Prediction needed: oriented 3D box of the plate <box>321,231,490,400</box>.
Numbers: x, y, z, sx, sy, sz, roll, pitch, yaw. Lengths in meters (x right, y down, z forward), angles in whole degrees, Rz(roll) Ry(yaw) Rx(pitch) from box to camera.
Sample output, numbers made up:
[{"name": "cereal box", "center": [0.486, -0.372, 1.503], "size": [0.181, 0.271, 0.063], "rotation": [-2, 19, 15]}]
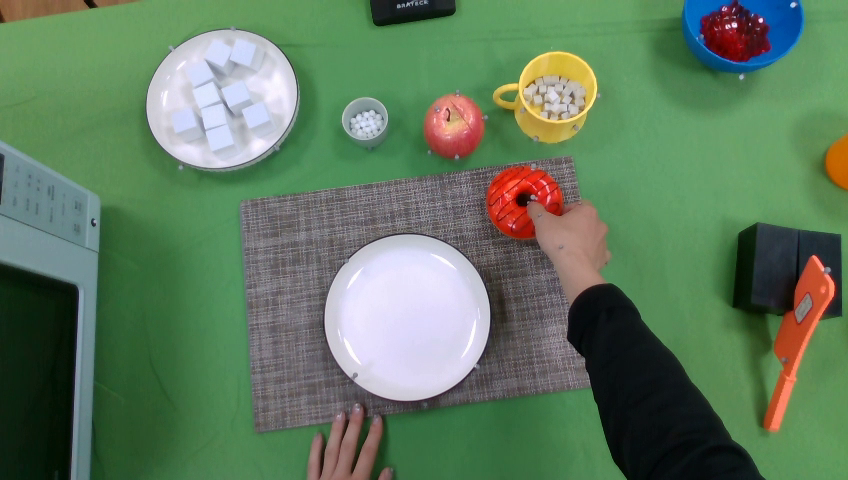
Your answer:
[{"name": "plate", "center": [-0.022, 0.092, 0.754], "size": [0.209, 0.038, 0.208], "rotation": [0, 77, 3]}]

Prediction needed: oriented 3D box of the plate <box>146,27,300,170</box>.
[{"name": "plate", "center": [-0.271, -0.191, 0.832], "size": [0.207, 0.039, 0.206], "rotation": [0, 77, 2]}]

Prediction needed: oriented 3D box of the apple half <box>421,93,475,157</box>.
[{"name": "apple half", "center": [0.025, -0.142, 0.792], "size": [0.053, 0.075, 0.080], "rotation": [-34, 82, -1]}]

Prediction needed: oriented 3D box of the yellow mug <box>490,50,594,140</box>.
[{"name": "yellow mug", "center": [0.153, -0.190, 0.801], "size": [0.131, 0.064, 0.099], "rotation": [2, 77, 4]}]

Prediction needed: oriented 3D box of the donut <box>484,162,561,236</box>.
[{"name": "donut", "center": [0.125, -0.053, 0.779], "size": [0.099, 0.048, 0.098], "rotation": [-1, 79, 4]}]

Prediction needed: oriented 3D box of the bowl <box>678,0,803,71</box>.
[{"name": "bowl", "center": [0.405, -0.283, 0.806], "size": [0.151, 0.077, 0.150], "rotation": [-1, 77, 3]}]

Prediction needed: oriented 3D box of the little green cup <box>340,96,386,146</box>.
[{"name": "little green cup", "center": [-0.080, -0.158, 0.817], "size": [0.061, 0.039, 0.061], "rotation": [-1, 77, 3]}]

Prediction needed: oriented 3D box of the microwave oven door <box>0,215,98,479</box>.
[{"name": "microwave oven door", "center": [-0.431, 0.158, 0.635], "size": [0.039, 0.245, 0.354], "rotation": [-5, 77, 1]}]

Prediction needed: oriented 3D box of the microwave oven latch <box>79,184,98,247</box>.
[{"name": "microwave oven latch", "center": [-0.441, -0.031, 0.782], "size": [0.030, 0.029, 0.079], "rotation": [-3, 78, 1]}]

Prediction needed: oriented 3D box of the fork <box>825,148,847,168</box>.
[{"name": "fork", "center": [0.601, -0.117, 0.724], "size": [0.206, 0.019, 0.028], "rotation": [-12, 69, 45]}]

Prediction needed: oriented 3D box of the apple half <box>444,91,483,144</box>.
[{"name": "apple half", "center": [0.057, -0.164, 0.795], "size": [0.033, 0.081, 0.081], "rotation": [-35, 78, -1]}]

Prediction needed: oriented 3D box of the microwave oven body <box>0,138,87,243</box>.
[{"name": "microwave oven body", "center": [-0.579, 0.131, 0.652], "size": [0.326, 0.261, 0.439], "rotation": [-5, 78, 1]}]

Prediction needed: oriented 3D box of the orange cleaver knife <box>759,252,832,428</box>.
[{"name": "orange cleaver knife", "center": [0.427, 0.119, 0.709], "size": [0.012, 0.077, 0.212], "rotation": [11, 110, 7]}]
